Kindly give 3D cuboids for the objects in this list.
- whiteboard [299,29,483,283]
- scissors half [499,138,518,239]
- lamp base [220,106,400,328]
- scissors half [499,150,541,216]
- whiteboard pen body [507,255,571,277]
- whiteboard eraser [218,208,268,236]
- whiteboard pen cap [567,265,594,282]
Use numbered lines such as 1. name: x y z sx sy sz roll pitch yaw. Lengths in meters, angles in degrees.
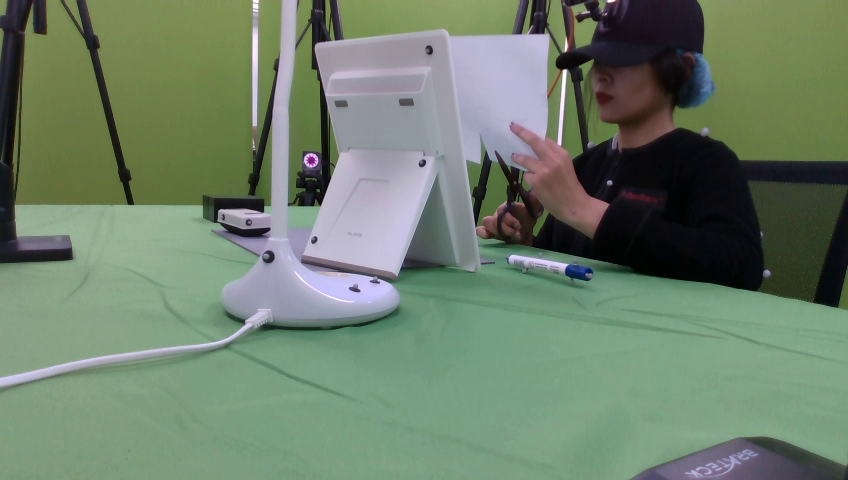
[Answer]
1. whiteboard: -0.074 -0.082 0.742 0.216 0.305 0.144 9 29 38
2. scissors half: 0.145 -0.083 1.012 0.013 0.175 0.040 20 25 38
3. lamp base: -0.101 -0.023 0.531 0.160 0.180 0.179 4 10 10
4. scissors half: 0.163 -0.098 1.025 0.012 0.040 0.176 23 -14 41
5. whiteboard pen body: 0.155 0.034 0.772 0.017 0.017 0.140 -2 6 -31
6. whiteboard eraser: -0.309 -0.031 1.044 0.056 0.042 0.112 -2 9 -40
7. whiteboard pen cap: 0.185 0.040 0.722 0.018 0.018 0.033 -3 7 -33
